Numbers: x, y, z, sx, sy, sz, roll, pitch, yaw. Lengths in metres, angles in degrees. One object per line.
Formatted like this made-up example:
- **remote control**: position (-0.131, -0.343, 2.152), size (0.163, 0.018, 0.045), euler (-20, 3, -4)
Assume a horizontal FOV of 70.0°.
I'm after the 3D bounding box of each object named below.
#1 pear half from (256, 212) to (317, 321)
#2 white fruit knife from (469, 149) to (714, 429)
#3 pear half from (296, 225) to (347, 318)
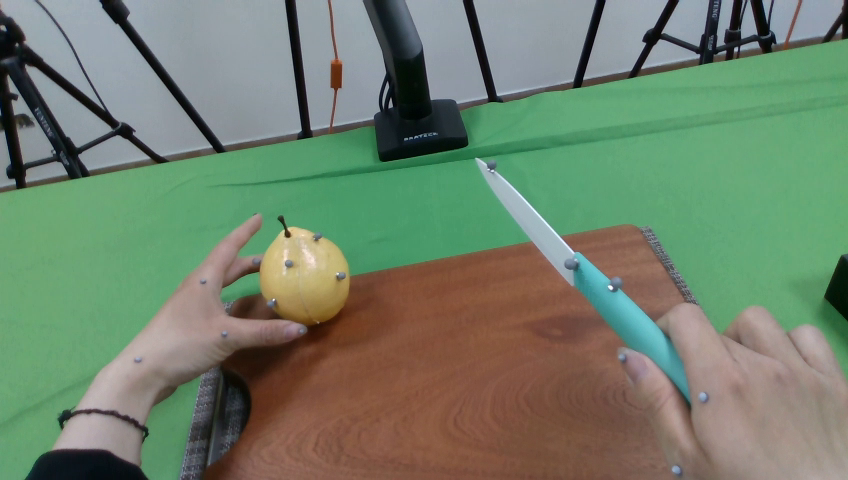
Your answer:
- **pear half**: position (-0.122, 0.019, 0.527), size (0.056, 0.111, 0.075), euler (-4, 38, 8)
- **white fruit knife**: position (0.087, 0.017, 0.346), size (0.016, 0.027, 0.205), euler (-25, 62, -28)
- **pear half**: position (-0.085, 0.025, 0.527), size (0.031, 0.089, 0.070), euler (-4, 34, 8)
